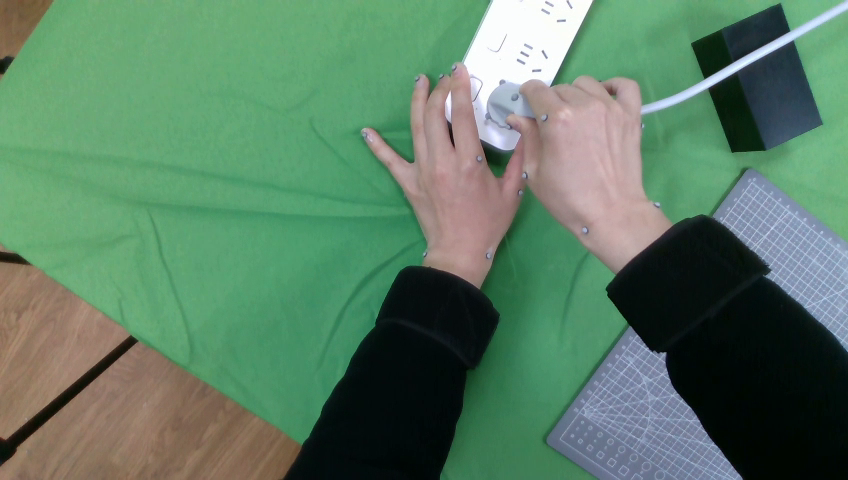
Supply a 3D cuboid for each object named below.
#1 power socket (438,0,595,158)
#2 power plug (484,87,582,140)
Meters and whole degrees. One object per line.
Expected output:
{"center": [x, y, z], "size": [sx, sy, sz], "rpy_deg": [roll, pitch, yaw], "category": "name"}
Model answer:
{"center": [0.086, -0.171, 0.484], "size": [0.072, 0.032, 0.227], "rpy_deg": [27, 94, -7], "category": "power socket"}
{"center": [0.079, -0.089, 0.472], "size": [0.073, 0.052, 0.035], "rpy_deg": [39, 93, -5], "category": "power plug"}
